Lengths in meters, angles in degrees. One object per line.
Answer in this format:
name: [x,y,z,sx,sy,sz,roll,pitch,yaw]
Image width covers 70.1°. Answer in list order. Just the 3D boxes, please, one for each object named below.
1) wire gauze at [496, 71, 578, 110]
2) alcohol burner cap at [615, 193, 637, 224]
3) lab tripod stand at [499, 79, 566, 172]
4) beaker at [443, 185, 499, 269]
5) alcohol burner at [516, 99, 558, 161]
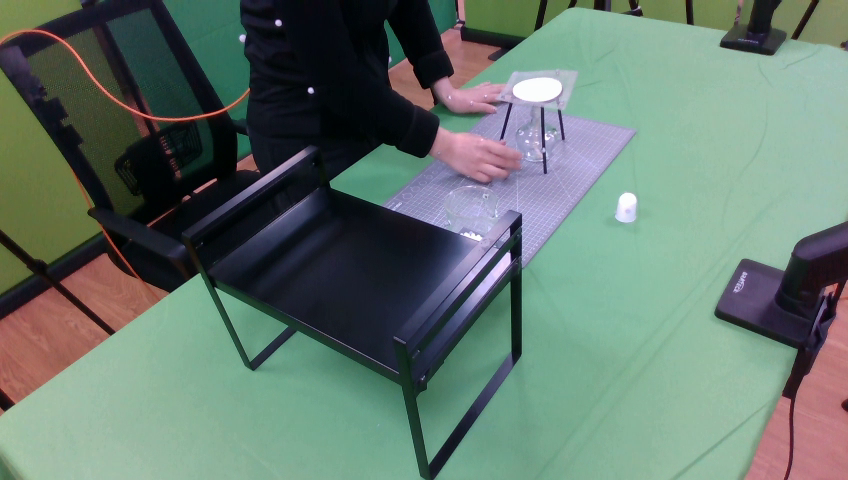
wire gauze: [0.199,-0.268,1.065,0.124,0.011,0.121,10,44,22]
alcohol burner cap: [0.327,-0.053,0.974,0.034,0.048,0.033,-4,38,3]
lab tripod stand: [0.204,-0.215,1.107,0.148,0.132,0.147,-6,41,5]
beaker: [0.071,-0.015,0.845,0.074,0.101,0.083,-35,48,-28]
alcohol burner: [0.208,-0.206,1.110,0.078,0.119,0.077,-3,41,3]
